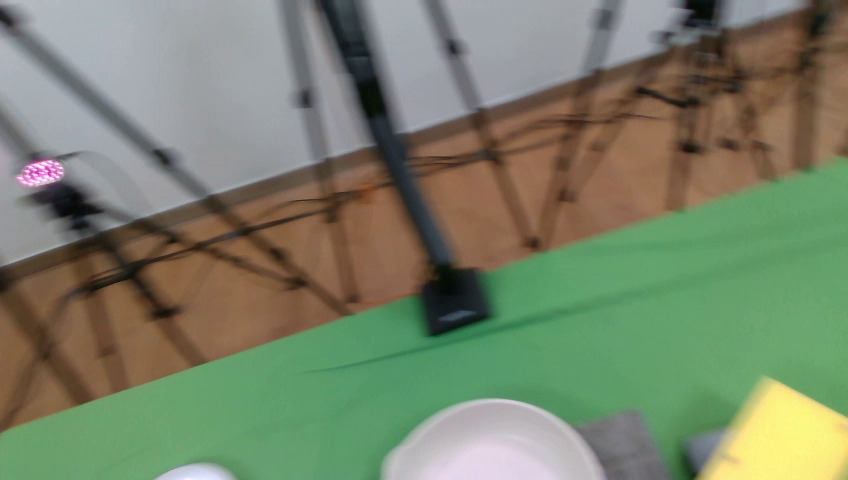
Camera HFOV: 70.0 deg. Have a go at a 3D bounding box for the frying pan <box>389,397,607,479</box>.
[{"bbox_3d":[0.042,0.419,0.731,0.304,0.104,0.486,16,49,29],"label":"frying pan"}]

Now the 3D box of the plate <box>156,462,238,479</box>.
[{"bbox_3d":[-0.348,0.434,0.885,0.207,0.039,0.205,-8,49,10],"label":"plate"}]

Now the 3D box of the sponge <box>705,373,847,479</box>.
[{"bbox_3d":[0.412,0.274,0.707,0.117,0.061,0.206,29,63,34],"label":"sponge"}]
